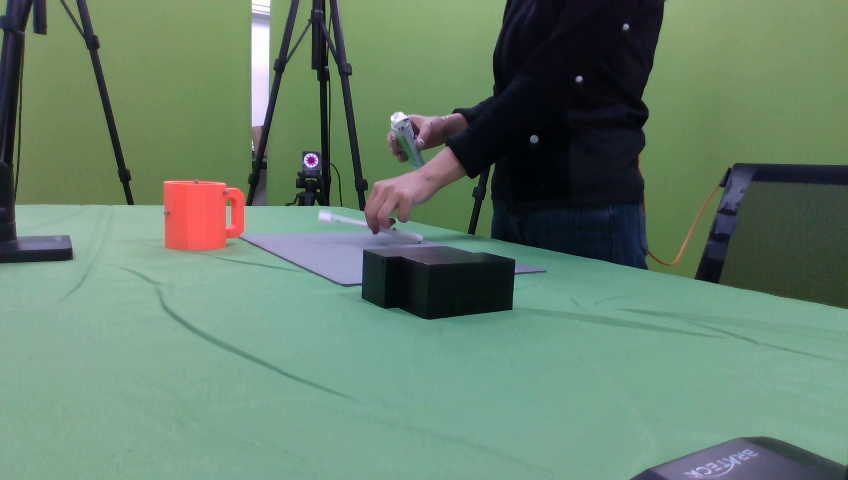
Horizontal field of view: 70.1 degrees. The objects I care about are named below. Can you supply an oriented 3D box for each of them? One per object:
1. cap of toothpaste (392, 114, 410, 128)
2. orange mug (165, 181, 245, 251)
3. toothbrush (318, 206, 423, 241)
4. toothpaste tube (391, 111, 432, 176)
[{"bbox_3d":[-0.042,-0.211,1.062,0.037,0.011,0.037,-25,-7,-3],"label":"cap of toothpaste"},{"bbox_3d":[-0.326,-0.040,0.911,0.083,0.101,0.127,8,14,37],"label":"orange mug"},{"bbox_3d":[-0.088,-0.025,1.013,0.182,0.014,0.016,15,35,-11],"label":"toothbrush"},{"bbox_3d":[-0.025,-0.182,1.145,0.055,0.034,0.165,37,-15,34],"label":"toothpaste tube"}]
